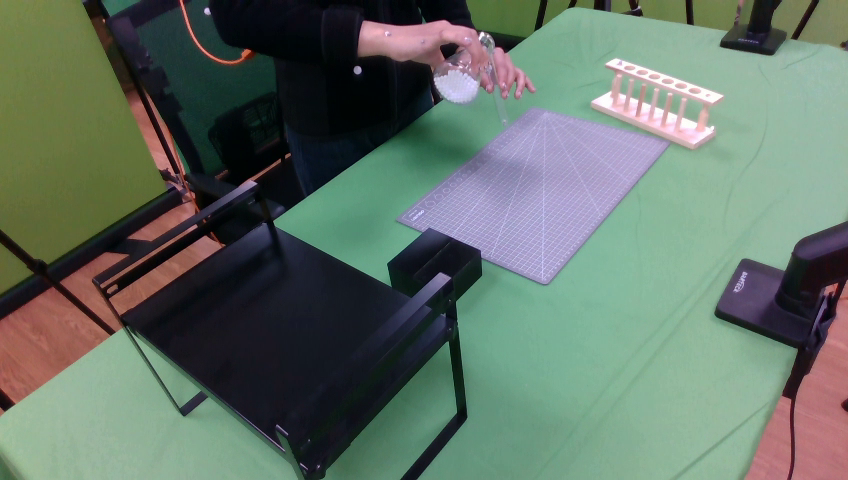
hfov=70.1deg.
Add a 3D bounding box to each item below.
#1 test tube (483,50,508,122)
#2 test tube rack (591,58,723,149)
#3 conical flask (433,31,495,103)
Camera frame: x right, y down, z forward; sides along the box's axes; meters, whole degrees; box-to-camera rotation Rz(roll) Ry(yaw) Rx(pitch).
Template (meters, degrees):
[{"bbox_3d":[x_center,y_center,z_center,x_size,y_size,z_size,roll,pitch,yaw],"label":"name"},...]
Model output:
[{"bbox_3d":[0.124,-0.259,1.033,0.017,0.151,0.017,-10,51,13],"label":"test tube"},{"bbox_3d":[0.442,-0.269,1.171,0.067,0.085,0.240,-30,46,-24],"label":"test tube rack"},{"bbox_3d":[0.070,-0.272,0.927,0.075,0.076,0.122,15,54,24],"label":"conical flask"}]
